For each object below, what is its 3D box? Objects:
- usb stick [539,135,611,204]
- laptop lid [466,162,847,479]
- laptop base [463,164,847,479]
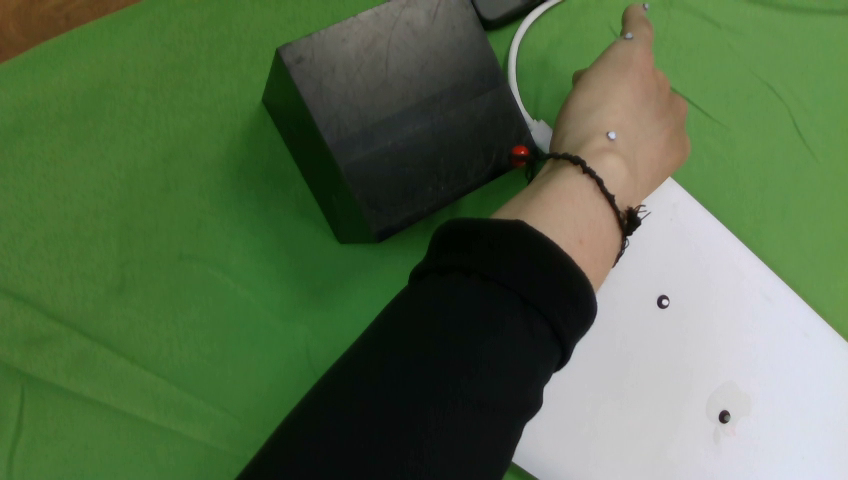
[{"bbox_3d":[0.111,-0.047,0.425,0.059,0.027,0.021,41,86,-21],"label":"usb stick"},{"bbox_3d":[0.224,0.136,0.467,0.359,0.013,0.241,39,81,-15],"label":"laptop lid"},{"bbox_3d":[0.221,0.135,0.481,0.356,0.023,0.235,37,81,-15],"label":"laptop base"}]
